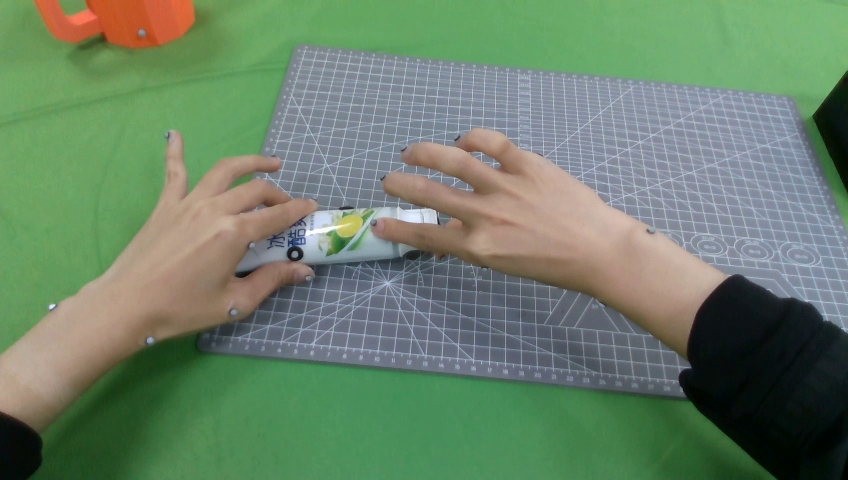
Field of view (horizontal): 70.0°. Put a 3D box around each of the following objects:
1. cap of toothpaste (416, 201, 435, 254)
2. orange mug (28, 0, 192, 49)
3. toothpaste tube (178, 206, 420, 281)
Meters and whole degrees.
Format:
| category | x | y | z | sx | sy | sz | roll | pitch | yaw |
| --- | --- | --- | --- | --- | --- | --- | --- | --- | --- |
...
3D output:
| category | x | y | z | sx | sy | sz | roll | pitch | yaw |
| --- | --- | --- | --- | --- | --- | --- | --- | --- | --- |
| cap of toothpaste | 0.001 | -0.008 | 0.410 | 0.011 | 0.037 | 0.037 | -7 | 55 | -6 |
| orange mug | -0.265 | -0.220 | 0.503 | 0.126 | 0.101 | 0.083 | -35 | 64 | -30 |
| toothpaste tube | -0.079 | -0.003 | 0.408 | 0.165 | 0.035 | 0.054 | -5 | 49 | -3 |
